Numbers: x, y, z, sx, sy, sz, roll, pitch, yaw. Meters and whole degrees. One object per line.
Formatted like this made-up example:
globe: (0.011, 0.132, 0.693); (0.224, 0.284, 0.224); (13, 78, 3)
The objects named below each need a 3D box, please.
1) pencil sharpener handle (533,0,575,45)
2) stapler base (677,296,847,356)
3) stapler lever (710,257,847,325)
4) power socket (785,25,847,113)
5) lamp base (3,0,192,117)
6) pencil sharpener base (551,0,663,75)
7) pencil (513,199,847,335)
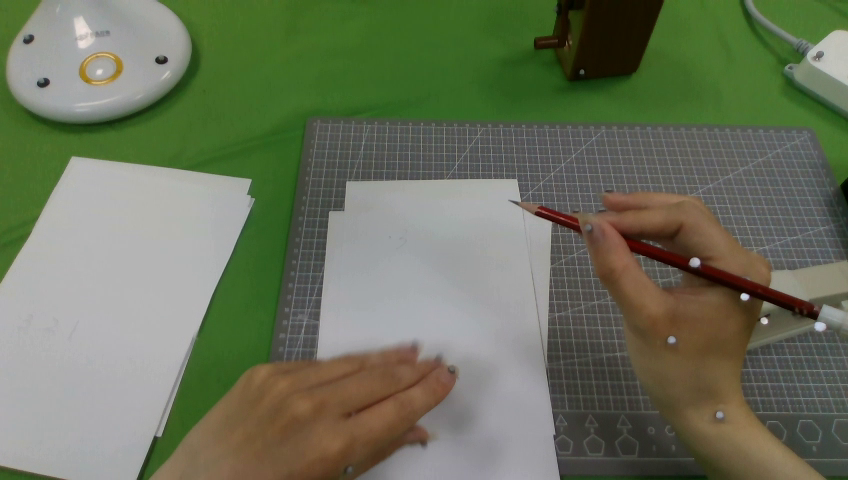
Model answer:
pencil sharpener handle: (0.110, -0.201, 0.519); (0.031, 0.068, 0.035); (-9, 36, -6)
stapler base: (0.247, 0.046, 0.431); (0.131, 0.024, 0.041); (-13, 60, -11)
stapler lever: (0.249, 0.031, 0.410); (0.118, 0.040, 0.026); (-13, 60, -11)
power socket: (0.438, -0.116, 0.534); (0.072, 0.033, 0.225); (-36, 65, -22)
lamp base: (-0.300, -0.222, 0.492); (0.161, 0.182, 0.177); (-26, 60, -17)
pencil sharpener base: (0.159, -0.207, 0.539); (0.077, 0.108, 0.061); (-9, 59, -6)
pencil: (0.128, 0.009, 0.311); (0.192, 0.012, 0.012); (24, 59, 32)
